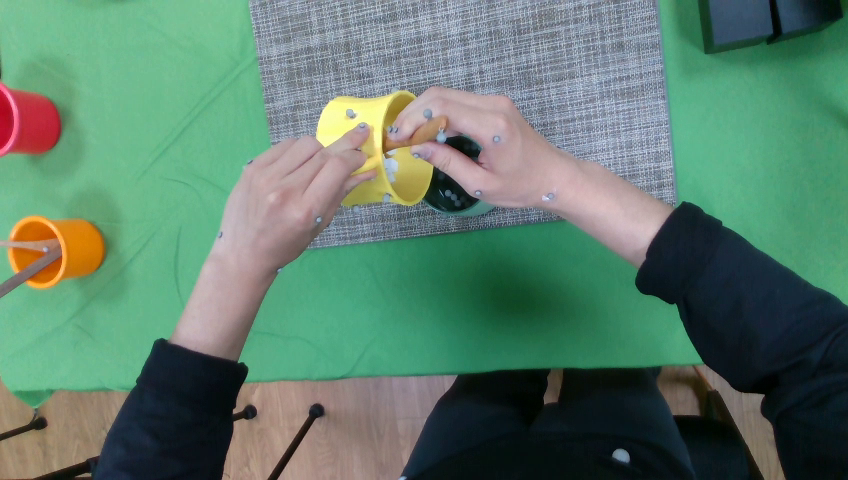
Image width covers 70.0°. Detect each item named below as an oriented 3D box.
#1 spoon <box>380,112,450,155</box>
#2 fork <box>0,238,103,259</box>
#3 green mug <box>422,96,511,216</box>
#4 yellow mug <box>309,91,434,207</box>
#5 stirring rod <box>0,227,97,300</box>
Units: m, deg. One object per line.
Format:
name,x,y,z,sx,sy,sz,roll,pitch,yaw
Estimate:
spoon,-0.018,-0.079,0.469,0.022,0.192,0.041,24,83,-23
fork,-0.522,0.006,0.764,0.209,0.018,0.028,5,97,-30
green mug,0.042,-0.086,0.628,0.092,0.105,0.125,11,99,14
yellow mug,-0.048,-0.074,0.530,0.063,0.130,0.100,2,113,28
stirring rod,-0.495,0.039,0.767,0.014,0.006,0.176,44,62,4
